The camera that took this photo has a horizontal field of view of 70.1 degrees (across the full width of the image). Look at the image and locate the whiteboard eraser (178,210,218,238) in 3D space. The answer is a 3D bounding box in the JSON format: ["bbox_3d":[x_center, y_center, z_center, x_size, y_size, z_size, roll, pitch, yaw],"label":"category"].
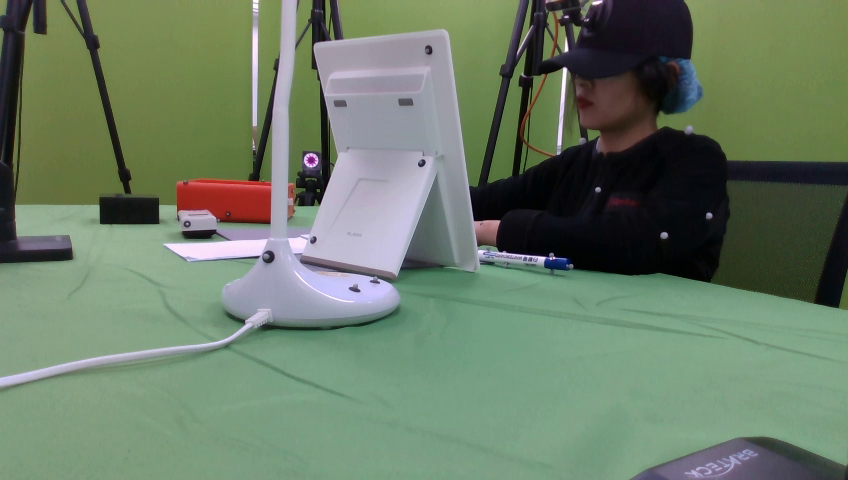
[{"bbox_3d":[-0.380,-0.027,1.014,0.056,0.042,0.112,0,8,-25],"label":"whiteboard eraser"}]

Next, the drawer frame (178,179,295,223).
[{"bbox_3d":[-0.397,-0.088,1.315,0.214,0.082,0.201,1,8,-7],"label":"drawer frame"}]

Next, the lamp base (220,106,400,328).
[{"bbox_3d":[-0.101,-0.023,0.531,0.160,0.180,0.179,4,10,10],"label":"lamp base"}]

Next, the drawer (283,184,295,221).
[{"bbox_3d":[-0.394,-0.087,1.317,0.212,0.073,0.194,1,8,-7],"label":"drawer"}]

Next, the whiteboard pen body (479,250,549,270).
[{"bbox_3d":[0.130,0.028,0.827,0.140,0.017,0.017,7,9,38],"label":"whiteboard pen body"}]

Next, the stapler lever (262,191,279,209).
[{"bbox_3d":[-0.329,-0.086,1.306,0.027,0.040,0.118,9,3,-9],"label":"stapler lever"}]

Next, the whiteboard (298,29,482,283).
[{"bbox_3d":[-0.075,-0.082,0.742,0.216,0.305,0.144,9,29,37],"label":"whiteboard"}]

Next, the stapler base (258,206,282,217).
[{"bbox_3d":[-0.331,-0.065,1.305,0.041,0.024,0.130,9,-2,-9],"label":"stapler base"}]

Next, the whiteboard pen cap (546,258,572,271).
[{"bbox_3d":[0.175,0.032,0.790,0.033,0.018,0.018,3,7,37],"label":"whiteboard pen cap"}]

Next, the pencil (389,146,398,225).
[{"bbox_3d":[-0.058,-0.103,1.107,0.012,0.012,0.193,2,52,-2],"label":"pencil"}]
